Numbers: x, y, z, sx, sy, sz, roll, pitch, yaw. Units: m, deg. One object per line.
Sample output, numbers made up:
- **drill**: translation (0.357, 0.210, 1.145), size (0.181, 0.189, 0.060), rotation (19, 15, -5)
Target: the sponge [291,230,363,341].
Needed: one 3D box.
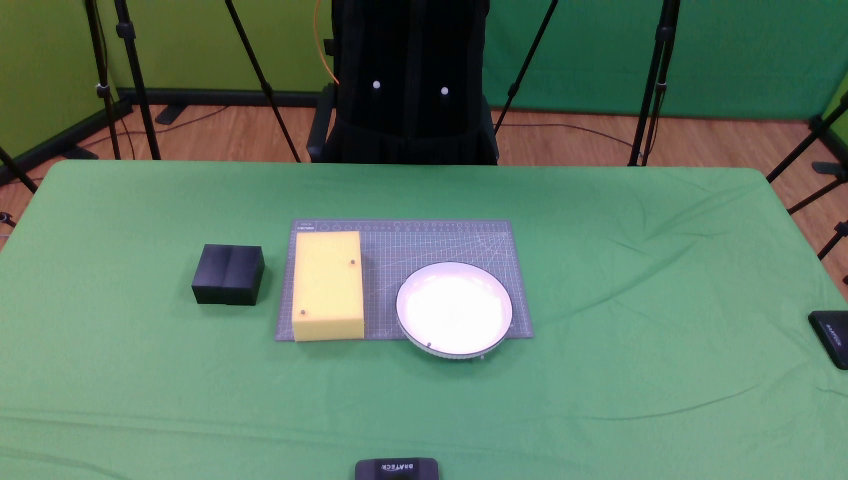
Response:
- **sponge**: translation (-0.171, 0.077, 1.081), size (0.118, 0.061, 0.205), rotation (-3, 47, -6)

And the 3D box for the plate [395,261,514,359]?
- **plate**: translation (0.052, 0.124, 1.066), size (0.209, 0.038, 0.208), rotation (2, 46, -2)
